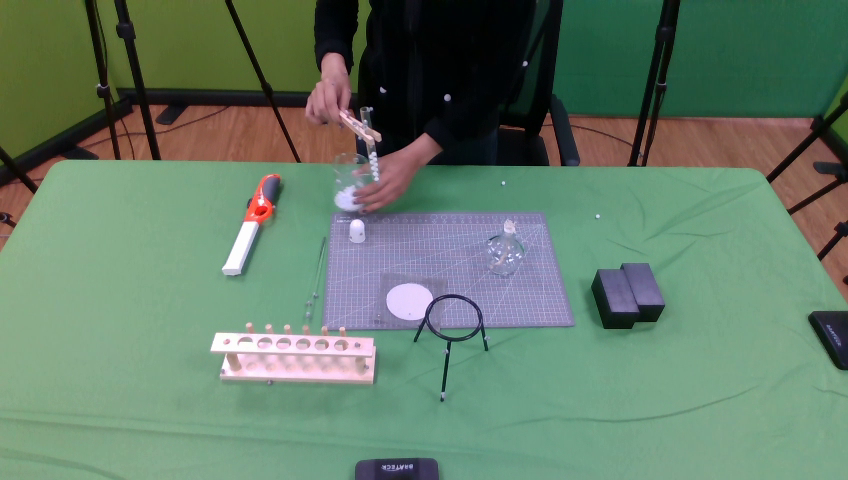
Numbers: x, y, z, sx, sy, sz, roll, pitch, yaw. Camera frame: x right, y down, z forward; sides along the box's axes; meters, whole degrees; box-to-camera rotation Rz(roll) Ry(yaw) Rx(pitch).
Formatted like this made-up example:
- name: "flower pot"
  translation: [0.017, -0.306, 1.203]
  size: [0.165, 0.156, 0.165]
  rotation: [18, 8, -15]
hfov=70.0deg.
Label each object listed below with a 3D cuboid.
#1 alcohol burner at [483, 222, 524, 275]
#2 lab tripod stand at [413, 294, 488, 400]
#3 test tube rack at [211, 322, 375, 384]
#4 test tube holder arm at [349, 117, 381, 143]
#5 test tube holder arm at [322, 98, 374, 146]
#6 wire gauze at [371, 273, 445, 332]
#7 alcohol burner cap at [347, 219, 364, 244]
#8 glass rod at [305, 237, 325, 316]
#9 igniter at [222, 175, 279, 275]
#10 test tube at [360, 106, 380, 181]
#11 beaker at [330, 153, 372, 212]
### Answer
- name: "alcohol burner"
  translation: [0.152, 0.009, 1.135]
  size: [0.078, 0.119, 0.077]
  rotation: [4, 47, -4]
- name: "lab tripod stand"
  translation: [0.044, 0.159, 0.972]
  size: [0.148, 0.132, 0.147]
  rotation: [2, 44, -2]
- name: "test tube rack"
  translation: [-0.202, 0.176, 0.969]
  size: [0.242, 0.085, 0.066]
  rotation: [3, 46, -2]
- name: "test tube holder arm"
  translation: [-0.107, -0.196, 1.069]
  size: [0.010, 0.015, 0.087]
  rotation: [-34, 51, -30]
- name: "test tube holder arm"
  translation: [-0.140, -0.216, 1.093]
  size: [0.013, 0.015, 0.177]
  rotation: [-27, 48, -26]
- name: "wire gauze"
  translation: [-0.028, 0.108, 1.100]
  size: [0.125, 0.011, 0.121]
  rotation: [7, 45, 4]
- name: "alcohol burner cap"
  translation: [-0.135, -0.019, 1.190]
  size: [0.034, 0.048, 0.033]
  rotation: [2, 45, -2]
- name: "glass rod"
  translation: [-0.202, 0.063, 1.131]
  size: [0.008, 0.008, 0.198]
  rotation: [3, 44, 0]
- name: "igniter"
  translation: [-0.341, -0.039, 1.206]
  size: [0.057, 0.025, 0.275]
  rotation: [-1, 45, 9]
- name: "test tube"
  translation: [-0.095, -0.166, 1.069]
  size: [0.017, 0.151, 0.017]
  rotation: [-3, 42, 3]
- name: "beaker"
  translation: [-0.145, -0.111, 1.206]
  size: [0.084, 0.101, 0.073]
  rotation: [19, 46, 9]
